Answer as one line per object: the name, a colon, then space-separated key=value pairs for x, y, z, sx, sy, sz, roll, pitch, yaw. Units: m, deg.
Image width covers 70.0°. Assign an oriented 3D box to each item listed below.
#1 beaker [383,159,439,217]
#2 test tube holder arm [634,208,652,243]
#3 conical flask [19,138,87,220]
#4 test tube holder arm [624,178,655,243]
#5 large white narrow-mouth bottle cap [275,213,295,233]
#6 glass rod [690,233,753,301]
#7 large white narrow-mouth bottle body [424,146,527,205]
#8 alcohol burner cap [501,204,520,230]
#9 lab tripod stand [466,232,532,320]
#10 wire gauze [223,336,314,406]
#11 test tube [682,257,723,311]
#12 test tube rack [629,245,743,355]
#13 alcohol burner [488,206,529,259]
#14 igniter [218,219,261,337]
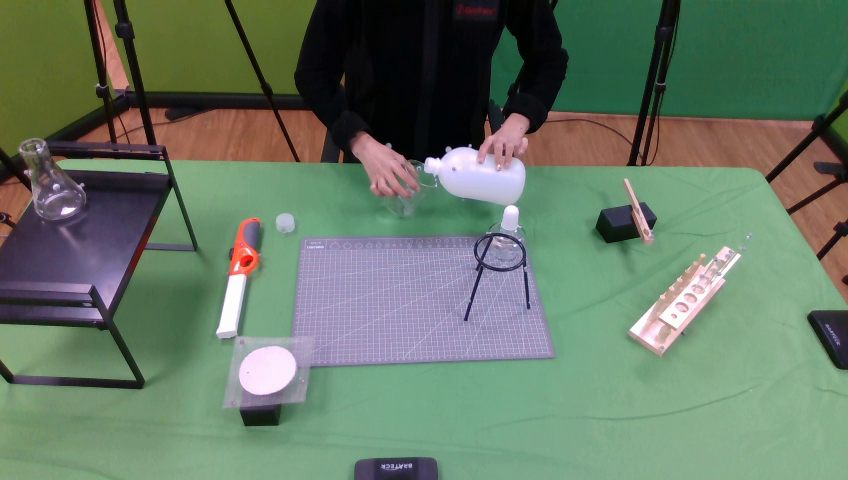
beaker: x=-0.028 y=-0.101 z=1.222 sx=0.084 sy=0.100 sz=0.073 roll=32 pitch=36 yaw=-11
test tube holder arm: x=0.428 y=-0.030 z=1.189 sx=0.010 sy=0.015 sz=0.087 roll=2 pitch=47 yaw=-3
conical flask: x=-0.576 y=-0.097 z=0.930 sx=0.075 sy=0.122 sz=0.075 roll=2 pitch=46 yaw=-2
test tube holder arm: x=0.433 y=-0.062 z=1.220 sx=0.013 sy=0.015 sz=0.177 roll=1 pitch=47 yaw=-3
large white narrow-mouth bottle cap: x=-0.277 y=-0.034 z=1.213 sx=0.038 sy=0.024 sz=0.037 roll=3 pitch=46 yaw=-3
glass rod: x=0.507 y=0.053 z=1.041 sx=0.008 sy=0.200 sz=0.008 roll=5 pitch=51 yaw=-6
large white narrow-mouth bottle body: x=0.097 y=-0.131 z=1.190 sx=0.195 sy=0.102 sz=0.101 roll=9 pitch=44 yaw=-15
alcohol burner cap: x=0.164 y=-0.046 z=1.133 sx=0.034 sy=0.048 sz=0.033 roll=2 pitch=40 yaw=-2
lab tripod stand: x=0.125 y=0.059 z=1.065 sx=0.148 sy=0.132 sz=0.147 roll=1 pitch=45 yaw=0
wire gauze: x=-0.237 y=0.197 z=0.931 sx=0.121 sy=0.011 sz=0.124 roll=1 pitch=45 yaw=-4
test tube: x=0.475 y=0.080 z=1.037 sx=0.017 sy=0.151 sz=0.017 roll=1 pitch=51 yaw=-1
test tube rack: x=0.474 y=0.095 z=1.091 sx=0.242 sy=0.085 sz=0.066 roll=-34 pitch=56 yaw=-31
alcohol burner: x=0.163 y=-0.020 z=1.158 sx=0.078 sy=0.120 sz=0.077 roll=0 pitch=47 yaw=0
igniter: x=-0.336 y=0.060 z=1.111 sx=0.057 sy=0.025 sz=0.274 roll=-8 pitch=46 yaw=4
